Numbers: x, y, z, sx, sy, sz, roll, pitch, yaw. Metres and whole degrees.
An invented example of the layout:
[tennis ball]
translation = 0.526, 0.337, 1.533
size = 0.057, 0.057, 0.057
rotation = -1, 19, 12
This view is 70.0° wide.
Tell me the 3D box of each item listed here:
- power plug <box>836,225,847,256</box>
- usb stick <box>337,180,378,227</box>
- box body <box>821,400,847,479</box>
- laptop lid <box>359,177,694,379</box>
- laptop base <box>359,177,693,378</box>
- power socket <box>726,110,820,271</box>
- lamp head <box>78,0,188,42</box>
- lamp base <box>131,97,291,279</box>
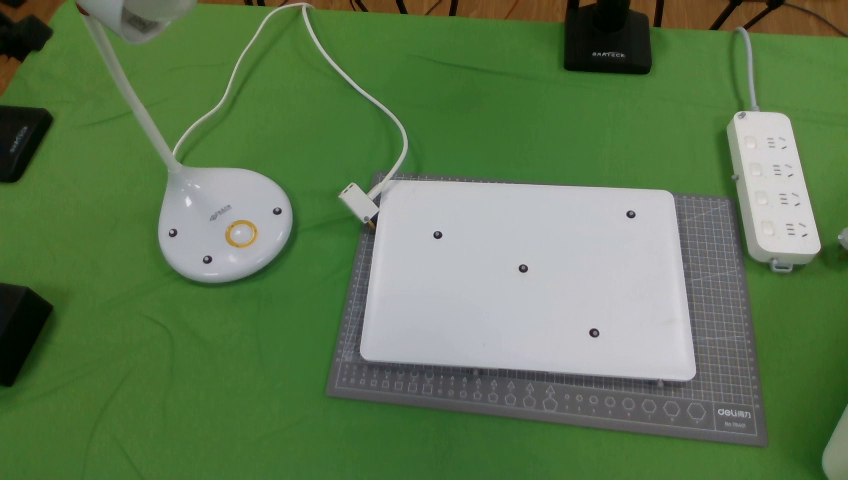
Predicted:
[power plug]
translation = 0.503, -0.006, 0.689
size = 0.073, 0.053, 0.035
rotation = -14, 56, -24
[usb stick]
translation = -0.075, -0.042, 0.729
size = 0.027, 0.059, 0.021
rotation = -42, 22, -10
[box body]
translation = 0.567, 0.133, 0.536
size = 0.252, 0.162, 0.363
rotation = 36, 68, 20
[laptop lid]
translation = 0.113, 0.032, 0.685
size = 0.356, 0.013, 0.240
rotation = 4, 63, 5
[laptop base]
translation = 0.114, 0.036, 0.697
size = 0.354, 0.023, 0.233
rotation = 3, 64, 4
[power socket]
translation = 0.418, -0.070, 0.734
size = 0.072, 0.033, 0.225
rotation = 5, 60, 4
[lamp head]
translation = -0.221, -0.214, 0.413
size = 0.123, 0.112, 0.112
rotation = 32, 64, -6
[lamp base]
translation = -0.257, -0.069, 0.681
size = 0.178, 0.182, 0.160
rotation = 30, 65, 21
